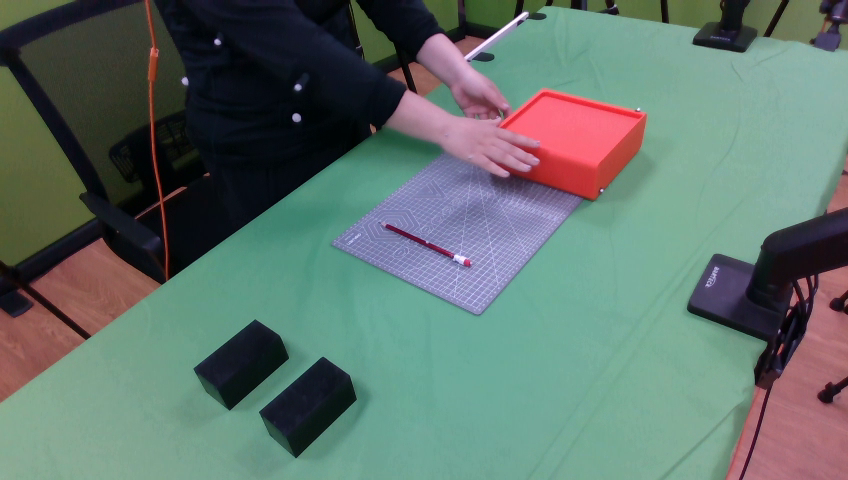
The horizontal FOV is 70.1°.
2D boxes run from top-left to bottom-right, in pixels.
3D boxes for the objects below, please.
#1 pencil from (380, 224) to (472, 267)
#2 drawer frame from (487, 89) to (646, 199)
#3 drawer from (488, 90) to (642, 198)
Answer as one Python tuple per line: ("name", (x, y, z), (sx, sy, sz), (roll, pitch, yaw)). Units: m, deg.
("pencil", (-0.002, 0.005, 0.970), (0.192, 0.012, 0.012), (24, 49, 34))
("drawer frame", (0.257, -0.180, 1.094), (0.212, 0.083, 0.202), (23, 48, 30))
("drawer", (0.254, -0.179, 1.096), (0.210, 0.073, 0.195), (25, 49, 30))
